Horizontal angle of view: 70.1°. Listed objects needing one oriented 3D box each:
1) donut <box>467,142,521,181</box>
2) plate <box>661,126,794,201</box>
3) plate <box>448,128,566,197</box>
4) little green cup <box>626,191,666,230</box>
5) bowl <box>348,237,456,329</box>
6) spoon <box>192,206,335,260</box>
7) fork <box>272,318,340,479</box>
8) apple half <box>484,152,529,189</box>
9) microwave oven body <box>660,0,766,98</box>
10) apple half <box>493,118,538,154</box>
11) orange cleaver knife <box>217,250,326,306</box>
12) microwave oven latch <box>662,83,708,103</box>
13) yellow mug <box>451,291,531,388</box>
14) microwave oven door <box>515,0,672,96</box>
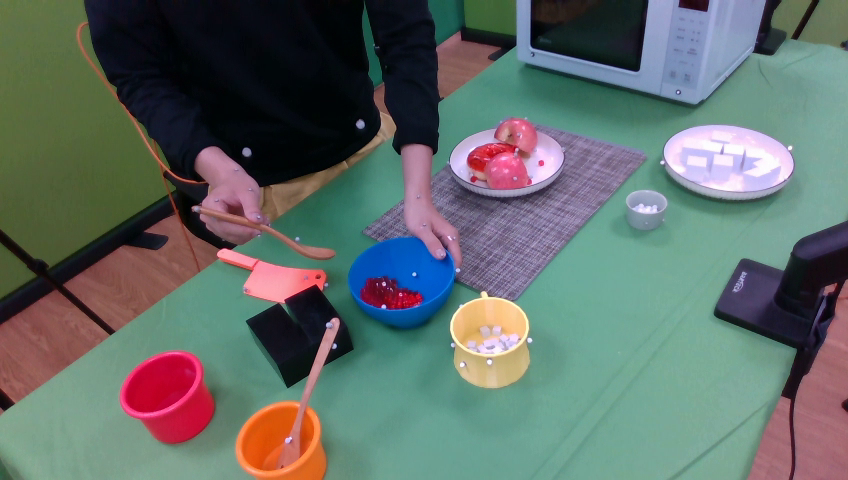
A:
[{"bbox_3d":[0.126,-0.144,1.090,0.099,0.048,0.098,-6,36,5],"label":"donut"},{"bbox_3d":[0.513,-0.127,1.035,0.207,0.039,0.206,-4,40,4],"label":"plate"},{"bbox_3d":[0.150,-0.138,1.096,0.209,0.038,0.208,-4,40,4],"label":"plate"},{"bbox_3d":[0.352,-0.046,0.963,0.061,0.039,0.061,-4,40,4],"label":"little green cup"},{"bbox_3d":[-0.027,0.072,0.851,0.151,0.077,0.150,-4,39,4],"label":"bowl"},{"bbox_3d":[-0.202,-0.010,0.779,0.021,0.195,0.041,-60,33,6],"label":"spoon"},{"bbox_3d":[-0.131,0.186,0.676,0.028,0.019,0.207,17,90,28],"label":"fork"},{"bbox_3d":[0.144,-0.116,1.031,0.081,0.033,0.081,3,77,-11],"label":"apple half"},{"bbox_3d":[0.472,-0.513,1.317,0.438,0.261,0.327,26,51,34],"label":"microwave oven body"},{"bbox_3d":[0.175,-0.196,1.114,0.080,0.053,0.075,29,12,34],"label":"apple half"},{"bbox_3d":[-0.248,0.059,0.945,0.210,0.012,0.077,12,48,20],"label":"orange cleaver knife"},{"bbox_3d":[0.518,-0.296,1.204,0.078,0.029,0.030,27,52,35],"label":"microwave oven latch"},{"bbox_3d":[0.085,0.120,0.786,0.100,0.064,0.130,-7,39,1],"label":"yellow mug"},{"bbox_3d":[0.343,-0.454,1.259,0.353,0.245,0.039,26,51,33],"label":"microwave oven door"}]
